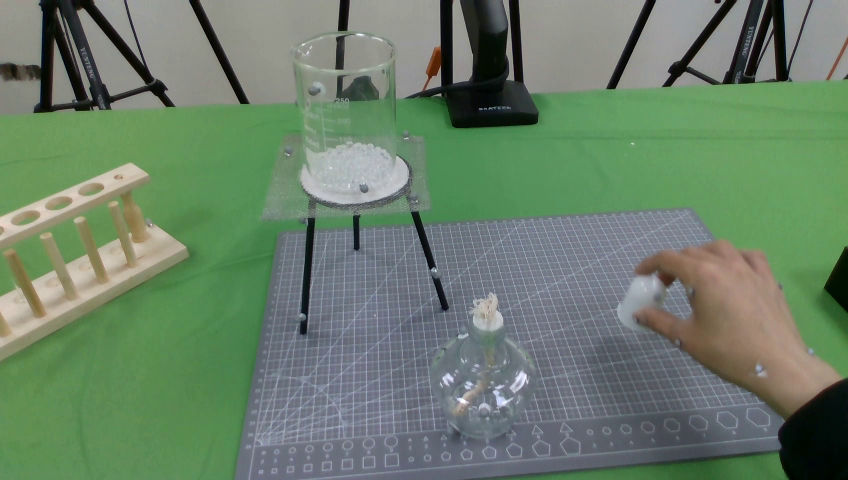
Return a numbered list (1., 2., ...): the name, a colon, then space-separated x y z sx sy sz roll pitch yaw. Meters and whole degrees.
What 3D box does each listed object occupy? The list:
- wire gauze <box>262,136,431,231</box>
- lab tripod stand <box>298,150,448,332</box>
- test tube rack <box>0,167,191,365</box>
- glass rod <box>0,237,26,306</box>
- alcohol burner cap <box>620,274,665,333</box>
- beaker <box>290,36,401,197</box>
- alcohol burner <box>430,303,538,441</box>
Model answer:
1. wire gauze: -0.058 -0.050 0.477 0.121 0.011 0.124 -2 40 -2
2. lab tripod stand: -0.049 0.000 0.520 0.148 0.132 0.147 1 37 0
3. test tube rack: -0.337 0.030 0.527 0.066 0.086 0.242 27 46 31
4. glass rod: -0.360 -0.028 0.494 0.008 0.201 0.008 0 30 0
5. alcohol burner cap: 0.177 0.048 0.485 0.034 0.048 0.033 -2 45 3
6. beaker: -0.059 -0.090 0.449 0.083 0.101 0.074 22 42 23
7. alcohol burner: 0.043 0.086 0.425 0.078 0.120 0.077 0 40 0
